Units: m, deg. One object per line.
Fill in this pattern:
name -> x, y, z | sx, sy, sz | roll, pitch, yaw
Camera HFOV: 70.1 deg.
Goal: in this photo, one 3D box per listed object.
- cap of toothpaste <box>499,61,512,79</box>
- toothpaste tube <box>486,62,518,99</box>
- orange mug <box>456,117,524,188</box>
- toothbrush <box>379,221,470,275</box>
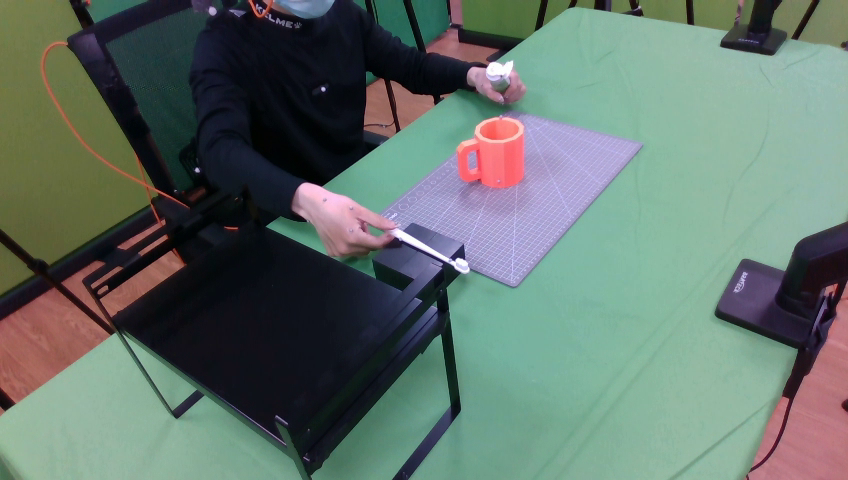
cap of toothpaste -> 0.151, -0.319, 1.129 | 0.011, 0.037, 0.037 | 22, 39, -14
toothpaste tube -> 0.154, -0.318, 1.218 | 0.055, 0.166, 0.034 | -2, 83, 15
orange mug -> 0.117, -0.152, 1.071 | 0.127, 0.101, 0.083 | -14, 41, -14
toothbrush -> -0.004, 0.007, 0.894 | 0.180, 0.017, 0.014 | 28, 56, 34
